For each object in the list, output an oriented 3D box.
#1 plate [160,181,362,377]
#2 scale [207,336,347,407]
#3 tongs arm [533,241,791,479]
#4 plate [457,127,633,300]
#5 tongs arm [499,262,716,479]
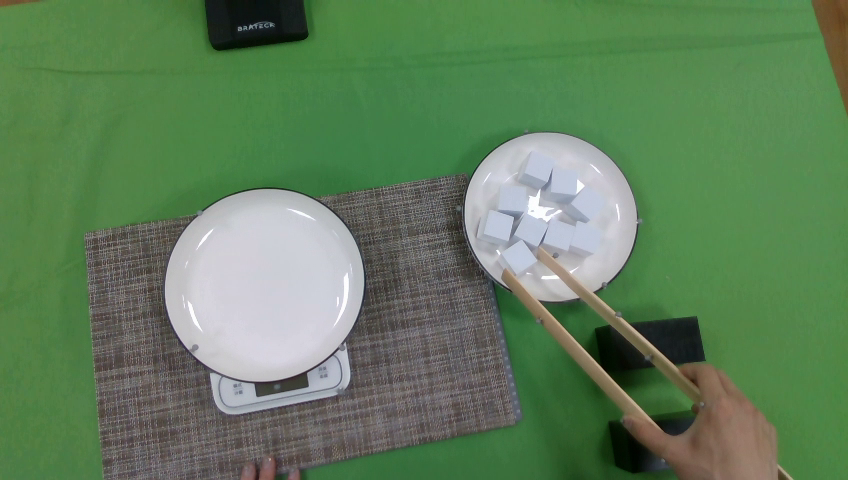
[{"bbox_3d":[-0.170,0.041,0.650,0.209,0.038,0.208,1,79,-4],"label":"plate"},{"bbox_3d":[-0.172,0.076,0.677,0.149,0.031,0.200,-9,80,-6],"label":"scale"},{"bbox_3d":[0.233,0.139,0.610,0.051,0.027,0.381,-34,63,-24],"label":"tongs arm"},{"bbox_3d":[0.141,-0.030,0.721,0.208,0.039,0.206,1,79,-4],"label":"plate"},{"bbox_3d":[0.207,0.155,0.598,0.028,0.028,0.384,-30,61,-26],"label":"tongs arm"}]
